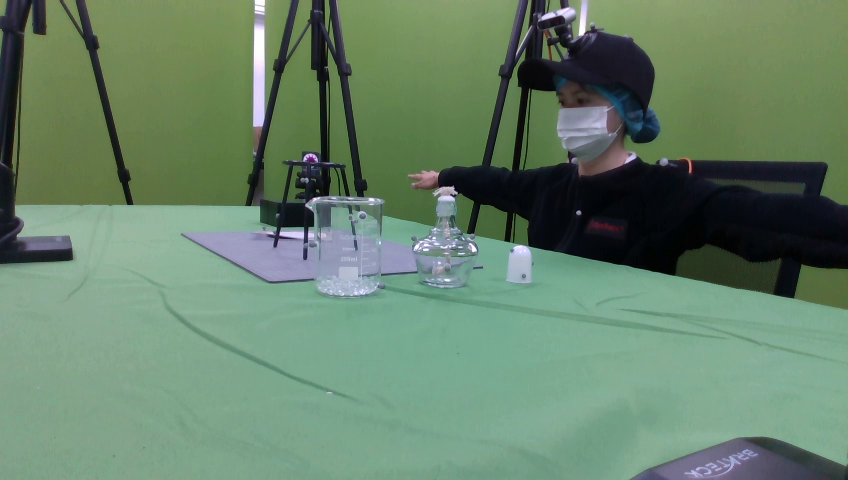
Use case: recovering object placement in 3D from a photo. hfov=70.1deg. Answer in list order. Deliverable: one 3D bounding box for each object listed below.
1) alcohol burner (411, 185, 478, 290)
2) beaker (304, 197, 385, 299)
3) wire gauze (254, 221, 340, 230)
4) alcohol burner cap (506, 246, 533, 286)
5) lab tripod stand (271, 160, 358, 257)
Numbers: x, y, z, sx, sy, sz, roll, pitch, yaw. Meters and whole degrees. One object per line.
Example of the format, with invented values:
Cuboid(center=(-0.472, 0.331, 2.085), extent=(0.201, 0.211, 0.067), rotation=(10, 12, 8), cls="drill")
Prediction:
Cuboid(center=(0.023, -0.004, 0.697), extent=(0.078, 0.119, 0.078), rotation=(0, 7, 0), cls="alcohol burner")
Cuboid(center=(-0.083, 0.007, 0.628), extent=(0.084, 0.100, 0.073), rotation=(-1, 7, -21), cls="beaker")
Cuboid(center=(-0.224, -0.026, 1.057), extent=(0.122, 0.011, 0.124), rotation=(-3, 3, -26), cls="wire gauze")
Cuboid(center=(0.118, 0.032, 0.739), extent=(0.034, 0.048, 0.034), rotation=(2, 7, 0), cls="alcohol burner cap")
Cuboid(center=(-0.159, -0.048, 0.876), extent=(0.148, 0.131, 0.148), rotation=(3, 5, 0), cls="lab tripod stand")
